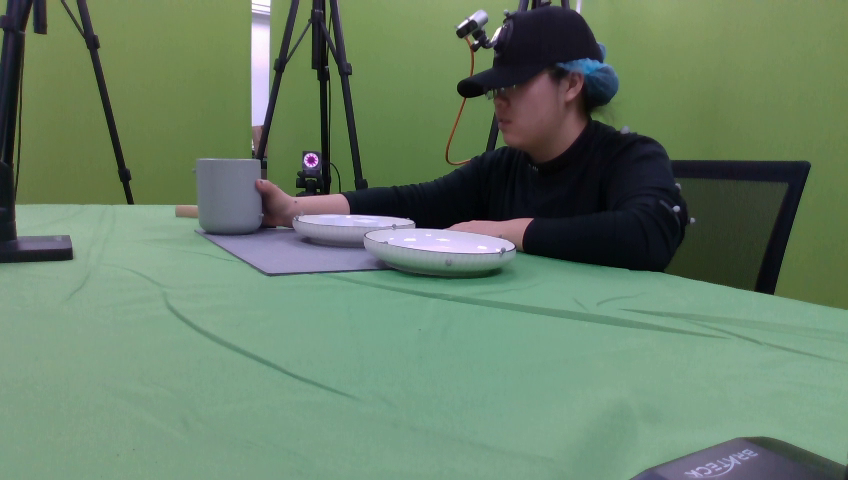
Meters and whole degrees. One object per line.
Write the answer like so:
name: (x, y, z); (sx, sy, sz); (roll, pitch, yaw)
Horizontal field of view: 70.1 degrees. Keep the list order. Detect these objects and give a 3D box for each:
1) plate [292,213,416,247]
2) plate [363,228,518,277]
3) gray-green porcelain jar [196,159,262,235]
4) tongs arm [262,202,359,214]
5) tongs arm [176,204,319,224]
plate: (-0.118, -0.017, 1.024); (0.208, 0.039, 0.207); (3, 8, 0)
plate: (0.022, 0.016, 0.817); (0.209, 0.038, 0.209); (4, 9, 0)
gray-green porcelain jar: (-0.335, -0.076, 1.044); (0.106, 0.126, 0.106); (1, 9, 0)
tongs arm: (-0.313, -0.064, 1.352); (0.384, 0.026, 0.051); (6, 9, 18)
tongs arm: (-0.334, -0.052, 1.272); (0.387, 0.028, 0.028); (4, 5, 4)
